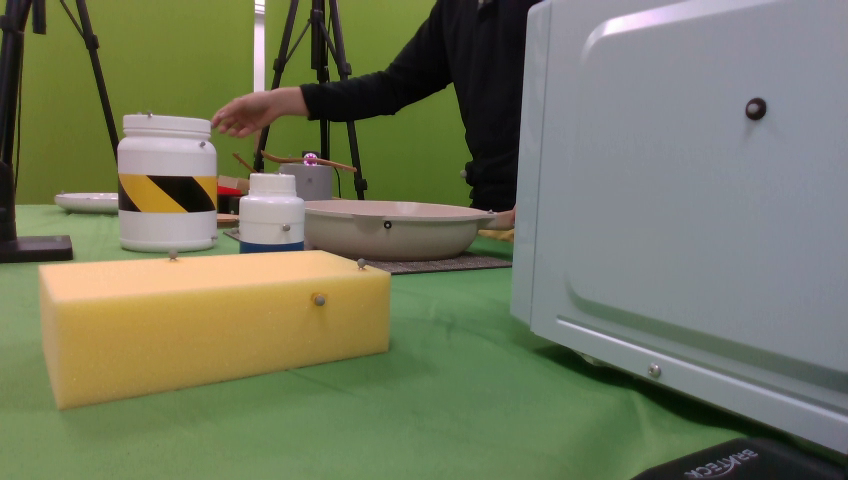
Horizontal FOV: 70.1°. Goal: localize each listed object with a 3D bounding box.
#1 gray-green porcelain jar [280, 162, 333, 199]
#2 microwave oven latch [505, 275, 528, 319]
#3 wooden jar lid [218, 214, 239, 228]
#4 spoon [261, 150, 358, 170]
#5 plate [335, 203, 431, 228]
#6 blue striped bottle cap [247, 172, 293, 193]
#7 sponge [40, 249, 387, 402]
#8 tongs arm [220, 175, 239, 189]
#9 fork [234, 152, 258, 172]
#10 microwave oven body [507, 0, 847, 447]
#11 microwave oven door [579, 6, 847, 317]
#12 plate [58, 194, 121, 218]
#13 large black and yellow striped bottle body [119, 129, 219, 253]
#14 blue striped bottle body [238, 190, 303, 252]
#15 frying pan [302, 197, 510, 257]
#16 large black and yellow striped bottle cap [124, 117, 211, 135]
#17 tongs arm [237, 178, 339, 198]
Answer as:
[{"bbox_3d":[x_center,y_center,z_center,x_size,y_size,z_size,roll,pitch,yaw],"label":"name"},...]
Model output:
[{"bbox_3d":[-0.237,-0.092,1.221,0.106,0.126,0.106,2,7,0],"label":"gray-green porcelain jar"},{"bbox_3d":[0.100,0.041,0.471,0.079,0.029,0.030,-1,7,-28],"label":"microwave oven latch"},{"bbox_3d":[-0.404,-0.037,1.169,0.108,0.020,0.108,3,7,0],"label":"wooden jar lid"},{"bbox_3d":[-0.229,-0.162,1.222,0.194,0.021,0.041,3,3,-16],"label":"spoon"},{"bbox_3d":[-0.089,-0.054,1.309,0.208,0.039,0.207,2,8,0],"label":"plate"},{"bbox_3d":[-0.152,-0.057,0.598,0.044,0.020,0.044,4,7,0],"label":"blue striped bottle cap"},{"bbox_3d":[-0.142,0.047,0.420,0.208,0.061,0.117,-3,8,-36],"label":"sponge"},{"bbox_3d":[-0.285,-0.105,1.445,0.389,0.027,0.028,9,-3,-23],"label":"tongs arm"},{"bbox_3d":[-0.396,-0.143,1.486,0.028,0.018,0.208,20,-26,45],"label":"fork"},{"bbox_3d":[0.331,-0.042,0.425,0.444,0.260,0.324,-2,8,-31],"label":"microwave oven body"},{"bbox_3d":[0.294,-0.067,0.570,0.358,0.243,0.039,-3,9,-31],"label":"microwave oven door"},{"bbox_3d":[-0.671,-0.074,1.310,0.209,0.038,0.209,2,8,0],"label":"plate"},{"bbox_3d":[-0.367,-0.079,0.876,0.131,0.184,0.130,2,7,0],"label":"large black and yellow striped bottle body"},{"bbox_3d":[-0.153,-0.007,0.606,0.063,0.120,0.063,2,8,0],"label":"blue striped bottle body"},{"bbox_3d":[0.051,-0.035,0.915,0.487,0.102,0.307,-5,7,11],"label":"frying pan"},{"bbox_3d":[-0.366,-0.163,0.866,0.115,0.019,0.115,3,7,0],"label":"large black and yellow striped bottle cap"},{"bbox_3d":[-0.242,-0.095,1.374,0.387,0.026,0.050,9,1,-37],"label":"tongs arm"}]
